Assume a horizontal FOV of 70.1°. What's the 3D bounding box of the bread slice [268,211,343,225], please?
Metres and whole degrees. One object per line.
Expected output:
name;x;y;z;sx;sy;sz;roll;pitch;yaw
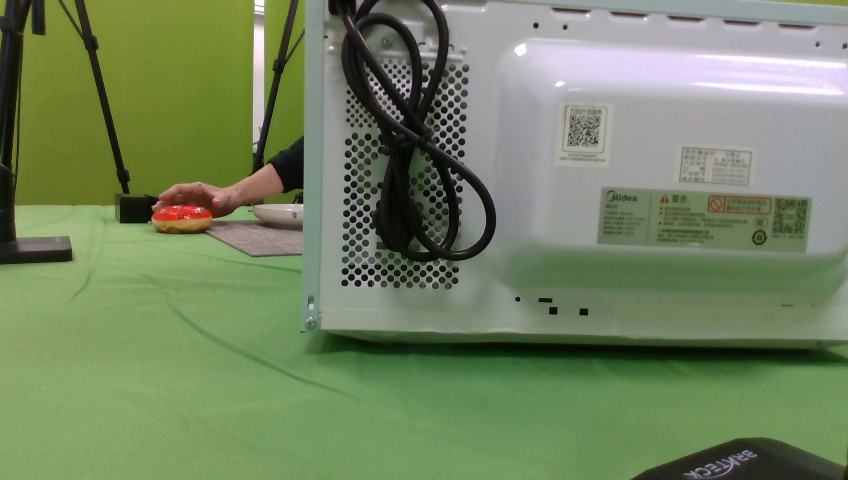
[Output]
bread slice;-0.243;-0.046;1.220;0.104;0.019;0.132;7;8;36

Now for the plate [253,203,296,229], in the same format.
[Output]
plate;-0.238;-0.047;1.226;0.208;0.039;0.207;3;7;0

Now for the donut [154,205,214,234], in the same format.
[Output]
donut;-0.426;-0.037;1.075;0.099;0.048;0.099;2;12;0

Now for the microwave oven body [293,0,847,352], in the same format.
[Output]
microwave oven body;0.122;-0.055;0.550;0.442;0.260;0.325;3;7;-5

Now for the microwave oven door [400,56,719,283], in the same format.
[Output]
microwave oven door;0.155;-0.077;0.697;0.356;0.243;0.039;2;8;-5

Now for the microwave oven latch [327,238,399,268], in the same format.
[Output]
microwave oven latch;-0.069;0.014;0.694;0.079;0.029;0.030;3;7;-3
